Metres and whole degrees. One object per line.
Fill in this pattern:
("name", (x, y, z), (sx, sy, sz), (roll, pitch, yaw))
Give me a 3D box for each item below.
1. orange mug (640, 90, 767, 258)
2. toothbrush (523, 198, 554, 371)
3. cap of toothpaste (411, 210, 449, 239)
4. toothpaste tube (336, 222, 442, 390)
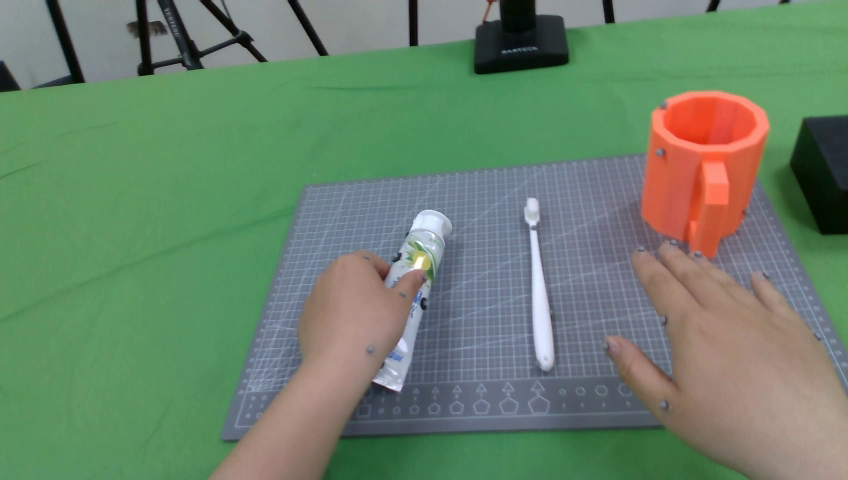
("orange mug", (0.226, -0.050, 0.497), (0.083, 0.102, 0.125), (1, 41, 15))
("toothbrush", (0.095, 0.029, 0.505), (0.014, 0.017, 0.180), (5, 46, -1))
("cap of toothpaste", (0.005, -0.012, 0.553), (0.037, 0.038, 0.011), (7, 48, 19))
("toothpaste tube", (-0.019, 0.043, 0.504), (0.055, 0.035, 0.164), (19, 50, 3))
